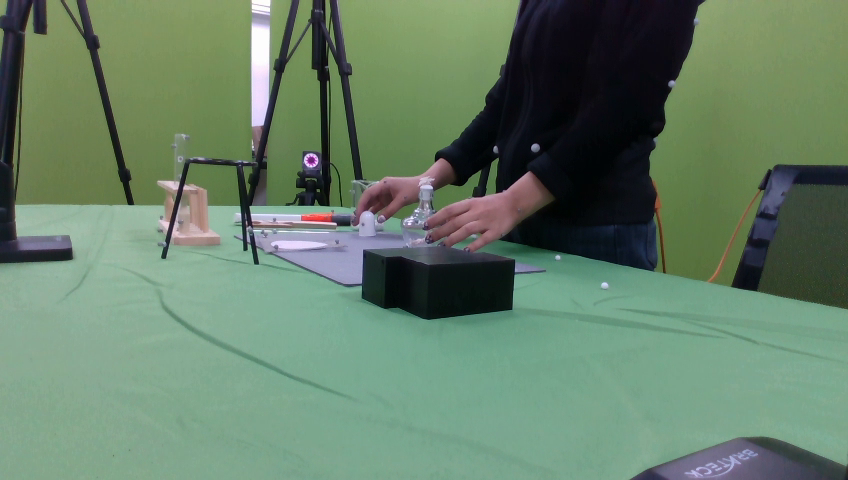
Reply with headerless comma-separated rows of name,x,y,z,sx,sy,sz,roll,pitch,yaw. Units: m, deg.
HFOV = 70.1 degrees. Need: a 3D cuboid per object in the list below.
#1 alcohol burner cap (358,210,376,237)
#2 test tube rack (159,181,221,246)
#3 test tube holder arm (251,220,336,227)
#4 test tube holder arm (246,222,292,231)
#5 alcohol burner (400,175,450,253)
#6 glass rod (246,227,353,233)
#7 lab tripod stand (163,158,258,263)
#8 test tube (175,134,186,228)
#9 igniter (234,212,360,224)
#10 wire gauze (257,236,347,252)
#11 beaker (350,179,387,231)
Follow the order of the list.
alcohol burner cap,-0.104,-0.031,1.098,0.034,0.048,0.034,-1,12,1
test tube rack,-0.395,-0.050,1.010,0.067,0.085,0.241,-2,8,-28
test tube holder arm,-0.253,-0.031,1.156,0.179,0.015,0.013,-2,43,-30
test tube holder arm,-0.291,-0.026,1.129,0.088,0.015,0.010,-2,42,-30
alcohol burner,0.003,-0.040,0.933,0.078,0.119,0.078,3,9,0
glass rod,-0.224,-0.017,1.109,0.201,0.008,0.008,1,7,-27
lab tripod stand,-0.265,-0.041,0.802,0.148,0.131,0.148,4,7,0
test tube,-0.388,-0.094,0.964,0.017,0.150,0.017,1,2,0
igniter,-0.246,-0.045,1.248,0.278,0.025,0.057,-1,-3,-25
wire gauze,-0.190,0.005,0.931,0.122,0.011,0.124,1,7,-21
beaker,-0.111,-0.070,1.204,0.074,0.100,0.084,2,8,0
